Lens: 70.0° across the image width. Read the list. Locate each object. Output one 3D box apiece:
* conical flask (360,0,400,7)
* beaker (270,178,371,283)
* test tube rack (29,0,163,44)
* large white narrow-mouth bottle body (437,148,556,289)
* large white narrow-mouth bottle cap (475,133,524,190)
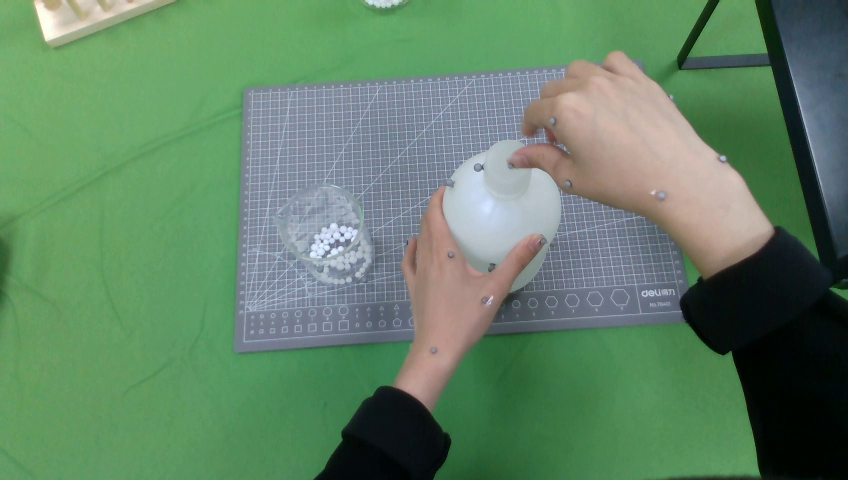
[{"bbox_3d":[-0.053,-0.326,0.671,0.075,0.122,0.075,-1,71,2],"label":"conical flask"},{"bbox_3d":[-0.093,-0.004,0.575,0.084,0.101,0.073,7,71,5],"label":"beaker"},{"bbox_3d":[-0.349,-0.321,0.696,0.242,0.086,0.066,-24,72,-6],"label":"test tube rack"},{"bbox_3d":[0.063,-0.025,0.529,0.102,0.196,0.101,-1,72,4],"label":"large white narrow-mouth bottle body"},{"bbox_3d":[0.054,-0.056,0.438,0.038,0.024,0.037,-1,72,4],"label":"large white narrow-mouth bottle cap"}]
